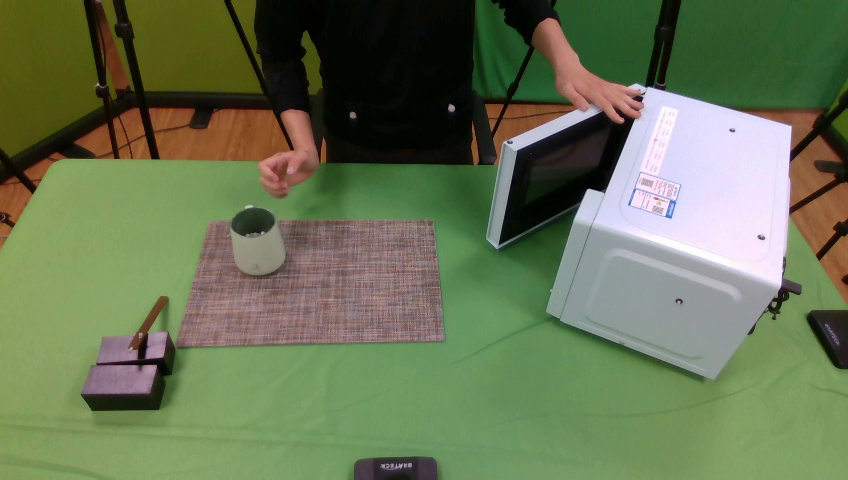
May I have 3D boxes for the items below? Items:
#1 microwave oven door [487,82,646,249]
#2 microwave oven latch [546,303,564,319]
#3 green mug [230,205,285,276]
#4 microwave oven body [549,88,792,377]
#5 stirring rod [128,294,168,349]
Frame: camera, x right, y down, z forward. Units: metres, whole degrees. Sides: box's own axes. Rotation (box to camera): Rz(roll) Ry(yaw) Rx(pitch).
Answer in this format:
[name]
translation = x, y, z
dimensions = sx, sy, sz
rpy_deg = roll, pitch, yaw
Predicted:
[microwave oven door]
translation = 0.280, -0.147, 1.181
dimensions = 0.356, 0.245, 0.039
rpy_deg = -27, 52, -26
[microwave oven latch]
translation = 0.242, 0.102, 1.081
dimensions = 0.030, 0.029, 0.079
rpy_deg = 22, 48, 17
[green mug]
translation = -0.311, -0.008, 1.118
dimensions = 0.092, 0.105, 0.124
rpy_deg = -14, 48, -16
[microwave oven body]
translation = 0.456, -0.028, 1.088
dimensions = 0.325, 0.261, 0.440
rpy_deg = 20, 47, 16
[stirring rod]
translation = -0.451, 0.131, 0.996
dimensions = 0.014, 0.006, 0.175
rpy_deg = 9, 21, -10
